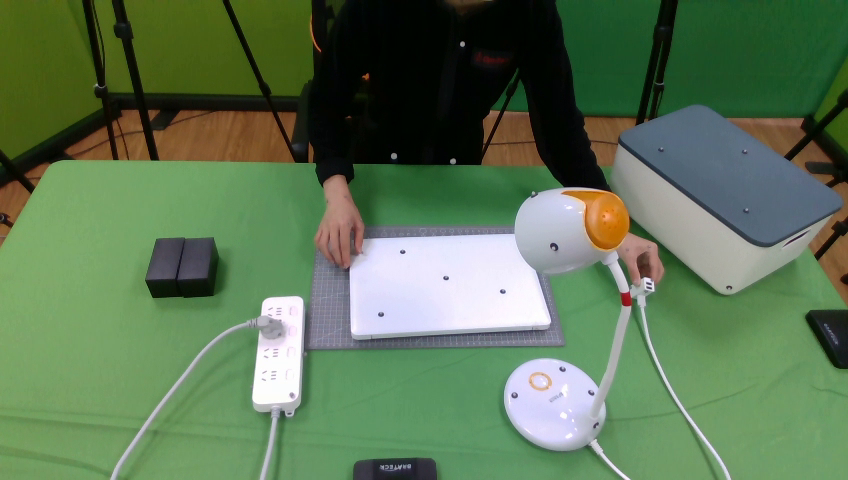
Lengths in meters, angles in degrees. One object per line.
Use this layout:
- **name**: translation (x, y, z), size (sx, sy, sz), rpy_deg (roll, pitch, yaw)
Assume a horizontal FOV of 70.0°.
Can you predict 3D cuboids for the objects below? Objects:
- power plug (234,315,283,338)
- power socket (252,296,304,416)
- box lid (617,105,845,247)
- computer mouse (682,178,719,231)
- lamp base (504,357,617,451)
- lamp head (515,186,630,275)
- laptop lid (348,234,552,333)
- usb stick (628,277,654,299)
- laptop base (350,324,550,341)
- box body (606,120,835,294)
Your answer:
- **power plug**: translation (-0.269, 0.143, 1.000), size (0.072, 0.053, 0.035), rpy_deg (4, 47, 3)
- **power socket**: translation (-0.238, 0.181, 0.997), size (0.072, 0.033, 0.225), rpy_deg (-3, 47, -5)
- **box lid**: translation (0.586, -0.138, 1.176), size (0.263, 0.015, 0.369), rpy_deg (-22, 51, -23)
- **computer mouse**: translation (0.596, -0.078, 1.290), size (0.117, 0.041, 0.062), rpy_deg (56, 45, -7)
- **lamp base**: translation (0.220, 0.211, 0.903), size (0.160, 0.181, 0.178), rpy_deg (-33, 59, -30)
- **lamp head**: translation (0.188, -0.013, 0.728), size (0.112, 0.112, 0.122), rpy_deg (-25, 9, -25)
- **laptop lid**: translation (0.039, 0.072, 1.117), size (0.357, 0.013, 0.240), rpy_deg (-1, 44, -5)
- **usb stick**: translation (0.398, 0.091, 1.120), size (0.021, 0.059, 0.027), rpy_deg (13, 65, -13)
- **laptop base**: translation (0.038, 0.082, 1.124), size (0.355, 0.023, 0.234), rpy_deg (-2, 43, -6)
- **box body**: translation (0.582, -0.088, 1.230), size (0.254, 0.161, 0.361), rpy_deg (-22, 52, -23)
